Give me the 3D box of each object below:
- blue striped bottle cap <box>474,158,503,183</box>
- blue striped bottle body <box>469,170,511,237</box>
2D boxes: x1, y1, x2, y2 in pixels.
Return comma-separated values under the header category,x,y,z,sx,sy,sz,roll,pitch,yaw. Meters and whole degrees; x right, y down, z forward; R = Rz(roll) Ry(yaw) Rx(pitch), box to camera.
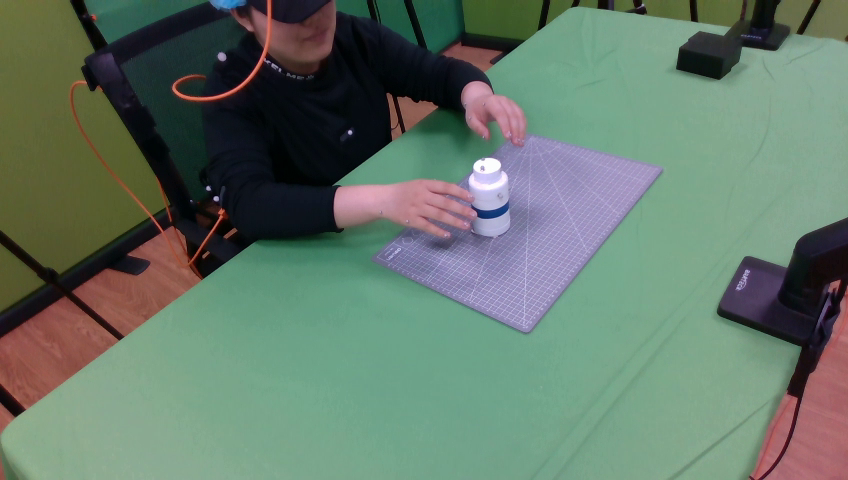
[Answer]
category,x,y,z,sx,sy,sz,roll,pitch,yaw
blue striped bottle cap,0.099,-0.108,0.931,0.044,0.021,0.044,-6,40,6
blue striped bottle body,0.105,-0.069,0.963,0.063,0.121,0.063,-6,40,5
